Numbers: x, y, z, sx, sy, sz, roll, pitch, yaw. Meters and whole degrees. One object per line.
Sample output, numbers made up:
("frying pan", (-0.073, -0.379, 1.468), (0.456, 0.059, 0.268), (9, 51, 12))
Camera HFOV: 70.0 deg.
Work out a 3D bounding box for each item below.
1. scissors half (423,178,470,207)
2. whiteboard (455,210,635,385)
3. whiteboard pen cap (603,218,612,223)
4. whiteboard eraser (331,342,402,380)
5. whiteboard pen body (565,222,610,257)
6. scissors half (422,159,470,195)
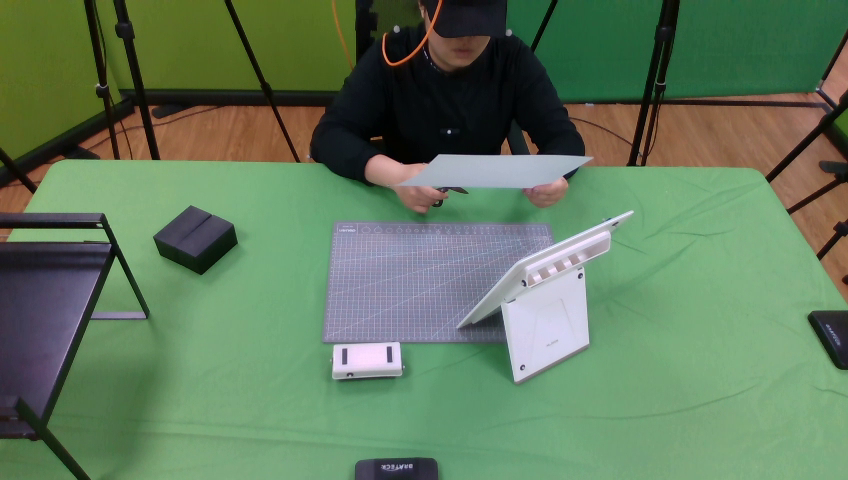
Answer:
("scissors half", (0.043, -0.096, 1.178), (0.013, 0.175, 0.040), (-12, 85, -29))
("whiteboard", (0.211, 0.111, 0.955), (0.217, 0.306, 0.143), (-21, 71, -23))
("whiteboard pen cap", (0.379, -0.031, 1.255), (0.033, 0.018, 0.018), (-33, 56, -30))
("whiteboard eraser", (-0.094, 0.198, 0.986), (0.113, 0.042, 0.055), (-2, 44, -6))
("whiteboard pen body", (0.335, -0.004, 1.228), (0.141, 0.017, 0.017), (-33, 56, -28))
("scissors half", (0.043, -0.119, 1.174), (0.013, 0.040, 0.174), (-7, 30, -29))
